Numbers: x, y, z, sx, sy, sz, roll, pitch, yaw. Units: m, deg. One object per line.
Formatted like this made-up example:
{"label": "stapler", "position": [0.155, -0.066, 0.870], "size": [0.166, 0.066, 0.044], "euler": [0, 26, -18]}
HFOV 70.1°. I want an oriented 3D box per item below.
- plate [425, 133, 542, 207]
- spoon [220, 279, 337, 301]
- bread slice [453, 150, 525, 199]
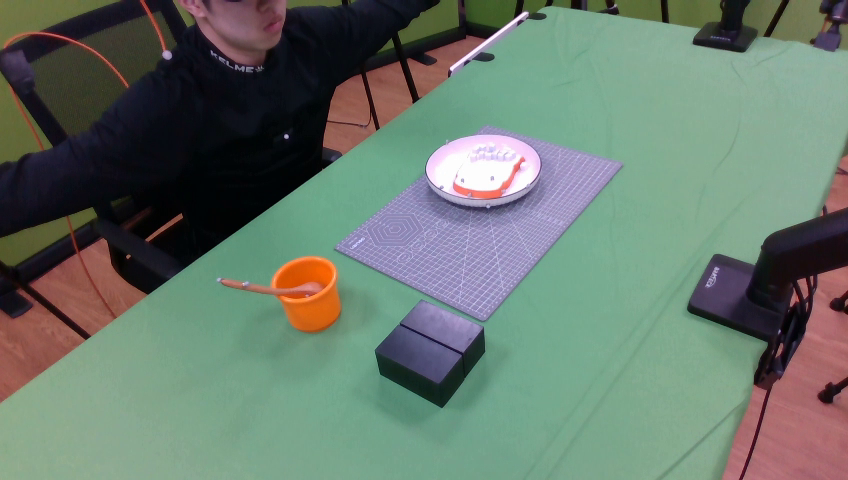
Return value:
{"label": "plate", "position": [0.106, -0.121, 1.079], "size": [0.209, 0.038, 0.208], "euler": [-4, 41, 4]}
{"label": "spoon", "position": [-0.189, 0.068, 0.813], "size": [0.041, 0.021, 0.195], "euler": [32, 14, 36]}
{"label": "bread slice", "position": [0.112, -0.118, 1.079], "size": [0.104, 0.019, 0.131], "euler": [11, 42, 21]}
